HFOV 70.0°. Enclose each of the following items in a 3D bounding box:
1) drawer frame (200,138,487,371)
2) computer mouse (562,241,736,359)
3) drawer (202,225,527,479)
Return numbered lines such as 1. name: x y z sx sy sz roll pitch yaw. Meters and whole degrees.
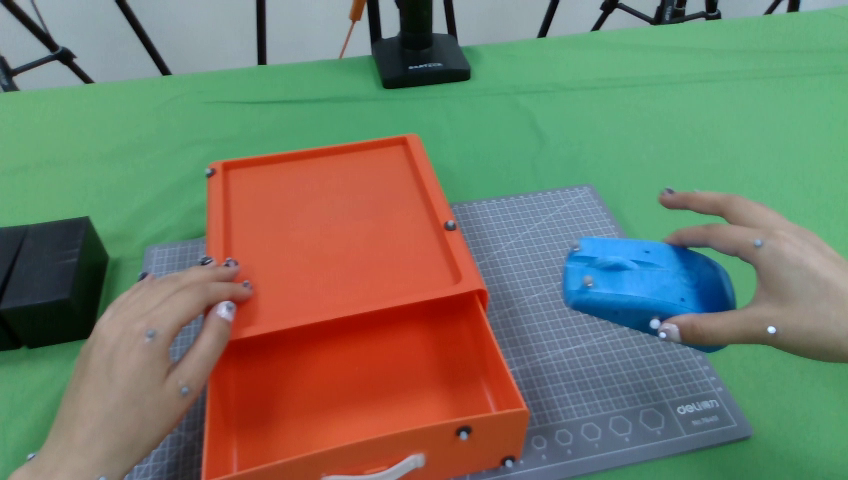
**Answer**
1. drawer frame: -0.076 0.015 0.511 0.202 0.083 0.211 -11 43 -10
2. computer mouse: 0.155 0.036 0.417 0.117 0.041 0.062 16 52 11
3. drawer: -0.053 0.079 0.443 0.195 0.074 0.209 -10 44 -9
